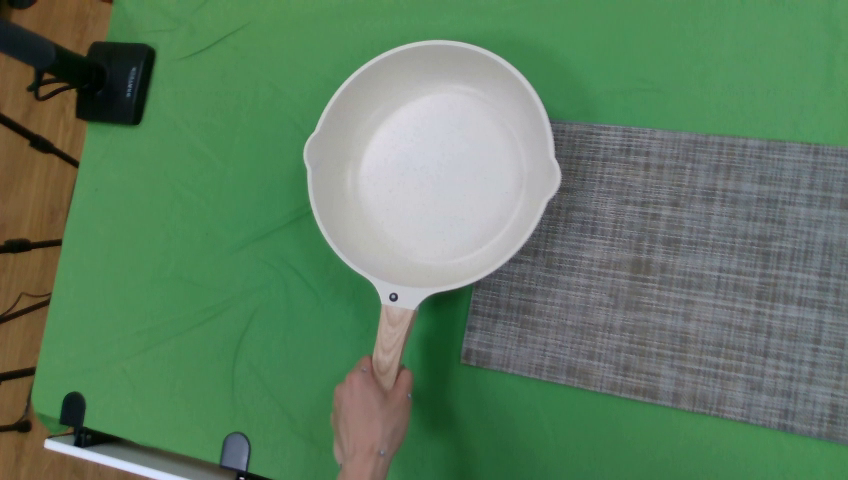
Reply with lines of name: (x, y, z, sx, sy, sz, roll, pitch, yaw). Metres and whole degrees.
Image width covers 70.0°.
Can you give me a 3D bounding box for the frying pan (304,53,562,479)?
frying pan: (-0.015, 0.030, 0.689, 0.305, 0.103, 0.486, 10, 76, 18)
